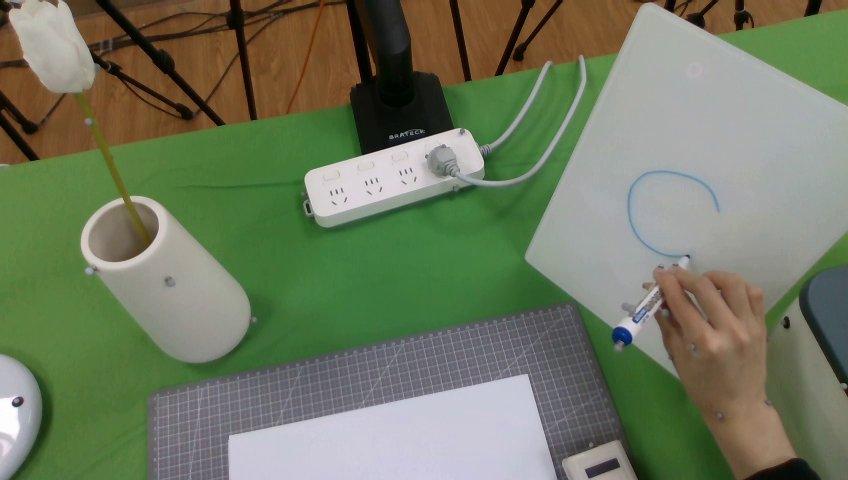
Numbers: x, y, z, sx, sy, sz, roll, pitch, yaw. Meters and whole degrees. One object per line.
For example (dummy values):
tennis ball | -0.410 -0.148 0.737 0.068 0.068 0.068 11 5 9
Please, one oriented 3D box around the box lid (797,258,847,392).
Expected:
box lid | 0.456 0.153 0.413 0.263 0.015 0.368 -12 62 -5

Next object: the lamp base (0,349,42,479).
lamp base | -0.472 0.139 0.528 0.178 0.182 0.160 17 62 15

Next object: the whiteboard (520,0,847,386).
whiteboard | 0.260 -0.049 0.572 0.215 0.307 0.144 40 50 22

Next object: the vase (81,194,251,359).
vase | -0.234 0.039 0.566 0.098 0.201 0.097 -2 60 3

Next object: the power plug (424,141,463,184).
power plug | 0.021 -0.081 0.692 0.035 0.053 0.072 -8 62 -2

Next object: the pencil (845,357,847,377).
pencil | 0.407 0.201 0.555 0.012 0.012 0.192 6 64 6

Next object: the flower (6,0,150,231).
flower | -0.235 -0.018 0.503 0.038 0.365 0.043 -22 44 -18

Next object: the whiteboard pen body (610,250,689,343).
whiteboard pen body | 0.188 0.040 0.491 0.017 0.017 0.141 38 48 21

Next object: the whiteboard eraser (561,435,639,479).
whiteboard eraser | 0.168 0.233 0.530 0.055 0.042 0.111 -16 61 -9

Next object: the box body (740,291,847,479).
box body | 0.459 0.192 0.477 0.254 0.162 0.360 -13 61 -5

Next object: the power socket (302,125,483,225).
power socket | -0.036 -0.078 0.719 0.227 0.033 0.071 -17 62 -8
